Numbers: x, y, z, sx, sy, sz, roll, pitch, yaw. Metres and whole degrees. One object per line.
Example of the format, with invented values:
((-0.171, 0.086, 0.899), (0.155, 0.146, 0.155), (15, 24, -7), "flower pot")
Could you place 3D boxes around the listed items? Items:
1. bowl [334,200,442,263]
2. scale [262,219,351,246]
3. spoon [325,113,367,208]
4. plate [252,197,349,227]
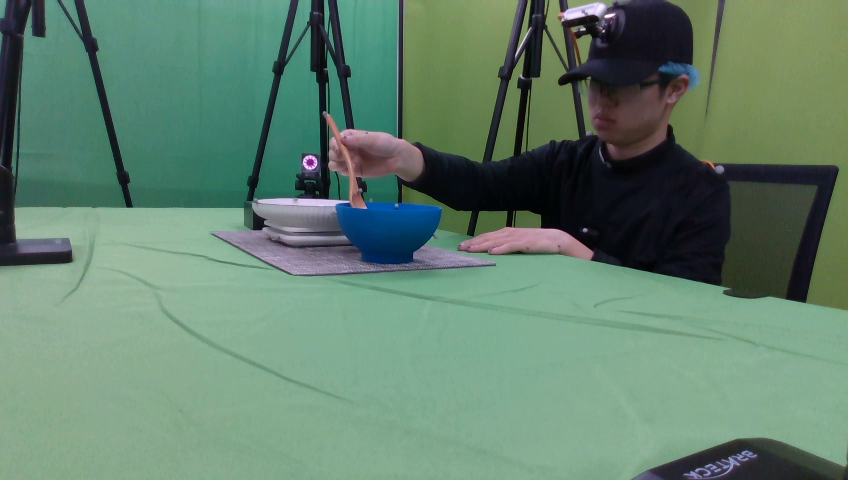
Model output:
((-0.051, -0.012, 0.849), (0.151, 0.077, 0.151), (2, 8, 0), "bowl")
((-0.160, -0.015, 1.027), (0.202, 0.031, 0.148), (-2, 8, -32), "scale")
((-0.112, -0.108, 0.892), (0.021, 0.193, 0.042), (-27, -19, 25), "spoon")
((-0.178, -0.047, 1.012), (0.209, 0.038, 0.209), (2, 6, 0), "plate")
